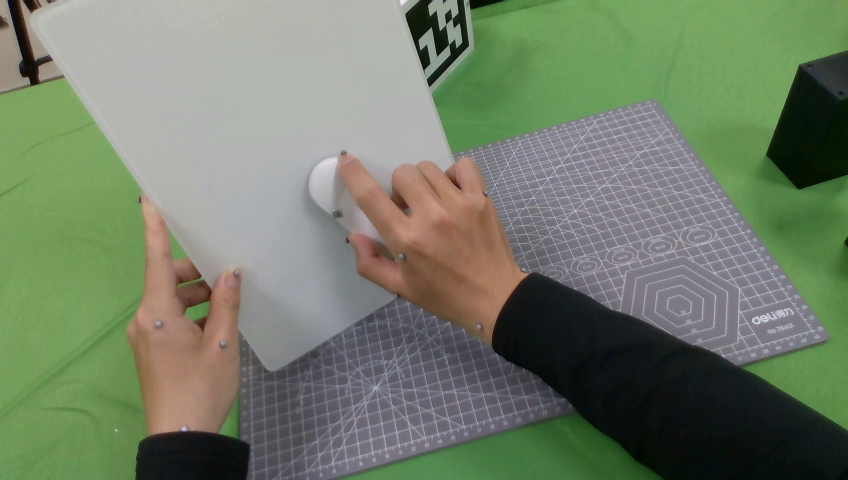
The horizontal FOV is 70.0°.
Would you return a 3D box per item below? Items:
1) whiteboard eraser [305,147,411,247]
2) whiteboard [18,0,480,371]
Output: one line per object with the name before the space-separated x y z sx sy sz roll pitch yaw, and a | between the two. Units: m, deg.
whiteboard eraser | -0.049 -0.032 0.468 0.041 0.102 0.018 -51 36 -4
whiteboard | -0.117 -0.090 0.496 0.217 0.308 0.142 -31 34 -12
